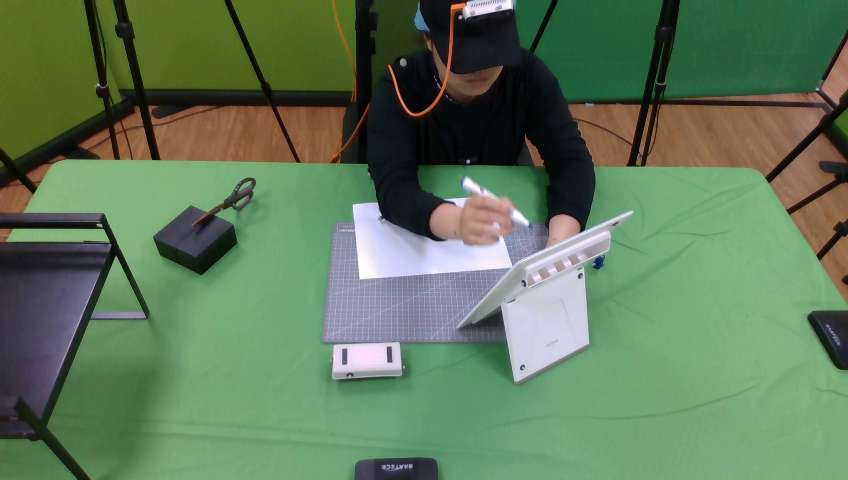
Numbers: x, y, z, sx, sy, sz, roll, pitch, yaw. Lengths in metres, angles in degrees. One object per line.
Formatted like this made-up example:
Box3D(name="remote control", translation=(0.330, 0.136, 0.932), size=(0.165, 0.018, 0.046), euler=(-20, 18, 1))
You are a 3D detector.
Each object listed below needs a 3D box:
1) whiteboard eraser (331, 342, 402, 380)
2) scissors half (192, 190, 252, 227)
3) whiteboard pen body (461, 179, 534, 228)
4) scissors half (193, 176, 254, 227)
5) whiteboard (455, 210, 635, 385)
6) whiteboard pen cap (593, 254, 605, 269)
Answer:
Box3D(name="whiteboard eraser", translation=(-0.094, 0.198, 0.986), size=(0.113, 0.042, 0.055), euler=(-2, 44, -6))
Box3D(name="scissors half", translation=(-0.393, -0.060, 1.187), size=(0.013, 0.040, 0.175), euler=(25, 29, 12))
Box3D(name="whiteboard pen body", translation=(0.116, -0.057, 0.955), size=(0.140, 0.017, 0.017), euler=(35, 53, 21))
Box3D(name="scissors half", translation=(-0.388, -0.075, 1.174), size=(0.013, 0.040, 0.174), euler=(28, 47, 8))
Box3D(name="whiteboard", translation=(0.211, 0.111, 0.955), size=(0.217, 0.306, 0.143), euler=(-21, 72, -23))
Box3D(name="whiteboard pen cap", translation=(0.341, 0.042, 1.179), size=(0.018, 0.033, 0.018), euler=(2, 46, -1))
